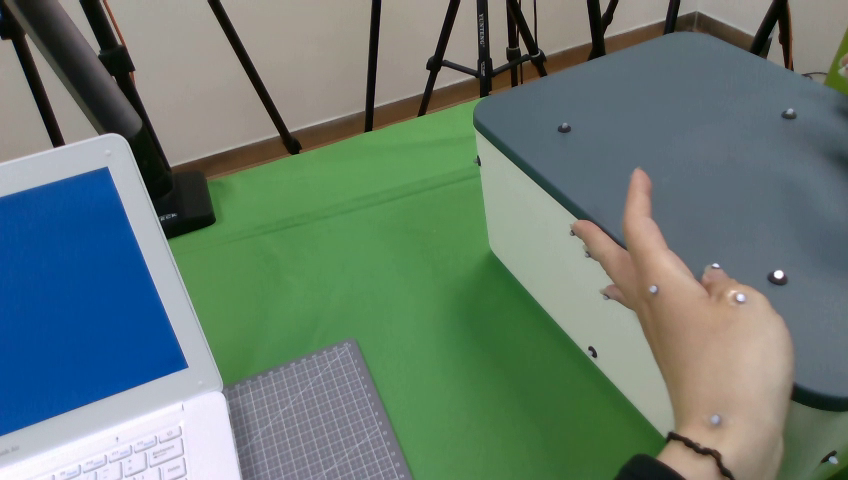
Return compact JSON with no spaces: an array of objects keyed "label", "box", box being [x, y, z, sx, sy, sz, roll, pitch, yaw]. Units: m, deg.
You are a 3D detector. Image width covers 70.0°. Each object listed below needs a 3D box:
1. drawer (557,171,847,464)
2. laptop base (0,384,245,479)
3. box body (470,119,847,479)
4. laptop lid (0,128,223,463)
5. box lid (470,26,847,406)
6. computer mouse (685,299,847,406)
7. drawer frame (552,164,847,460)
[{"label":"drawer","box":[0.246,0.046,0.499,0.195,0.074,0.209,-21,43,-12]},{"label":"laptop base","box":[-0.289,0.251,0.406,0.355,0.023,0.232,-20,46,-13]},{"label":"box body","box":[0.233,-0.005,0.502,0.254,0.162,0.360,-23,44,-16]},{"label":"laptop lid","box":[-0.366,0.074,0.461,0.357,0.243,0.013,-21,14,-13]},{"label":"box lid","box":[0.226,-0.062,0.444,0.263,0.015,0.367,-23,44,-15]},{"label":"computer mouse","box":[0.276,0.088,0.488,0.117,0.041,0.062,-19,47,-1]},{"label":"drawer frame","box":[0.245,0.041,0.492,0.202,0.083,0.211,-19,38,-15]}]
